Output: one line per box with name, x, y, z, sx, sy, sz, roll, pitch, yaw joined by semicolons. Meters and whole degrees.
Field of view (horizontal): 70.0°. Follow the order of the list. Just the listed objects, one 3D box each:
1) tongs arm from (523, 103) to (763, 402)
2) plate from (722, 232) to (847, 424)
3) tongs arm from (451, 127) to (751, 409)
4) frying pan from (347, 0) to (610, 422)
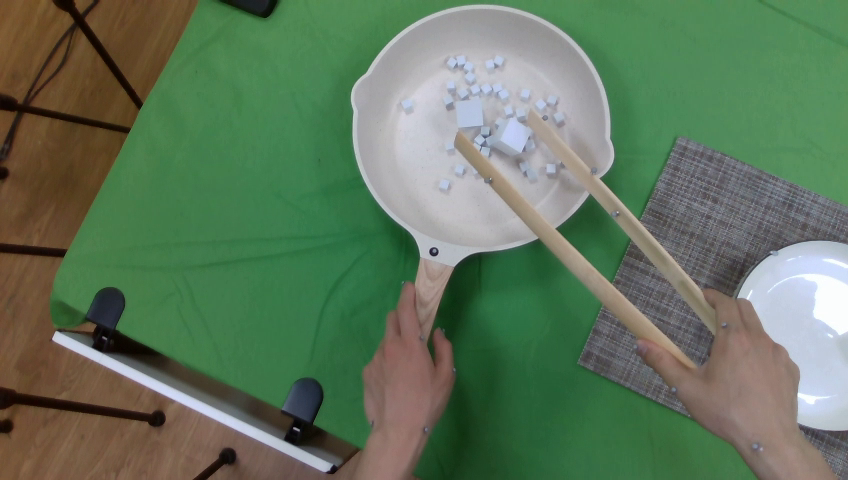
tongs arm;0.196;-0.009;0.612;0.051;0.027;0.381;-21;58;-24
plate;0.433;0.095;0.672;0.207;0.039;0.207;-1;81;4
tongs arm;0.147;0.012;0.590;0.028;0.028;0.384;-25;60;-30
frying pan;0.028;-0.037;0.685;0.306;0.103;0.486;17;75;7
